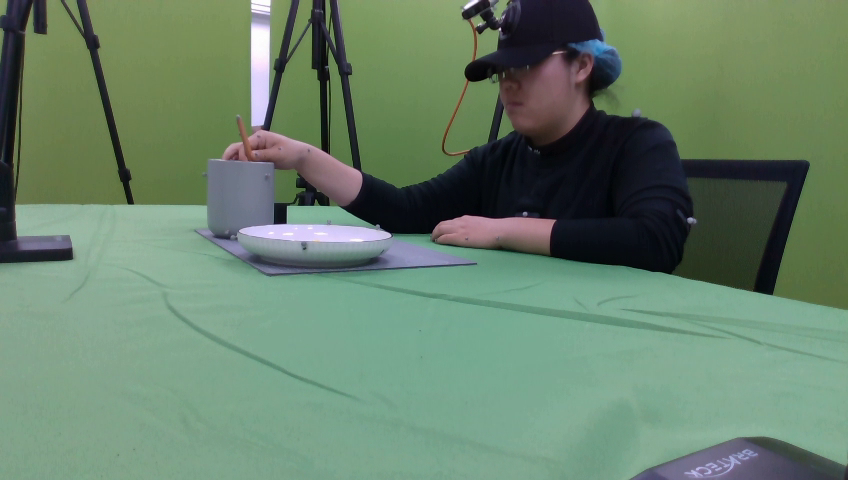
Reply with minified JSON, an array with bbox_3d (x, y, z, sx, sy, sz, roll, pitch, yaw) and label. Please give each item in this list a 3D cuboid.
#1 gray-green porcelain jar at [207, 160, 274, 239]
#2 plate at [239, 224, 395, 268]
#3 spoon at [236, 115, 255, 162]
[{"bbox_3d":[-0.304,-0.068,1.003,0.106,0.126,0.106,3,7,0],"label":"gray-green porcelain jar"},{"bbox_3d":[-0.144,0.007,0.823,0.208,0.039,0.207,3,7,0],"label":"plate"},{"bbox_3d":[-0.283,-0.108,0.996,0.021,0.193,0.041,-4,13,2],"label":"spoon"}]
